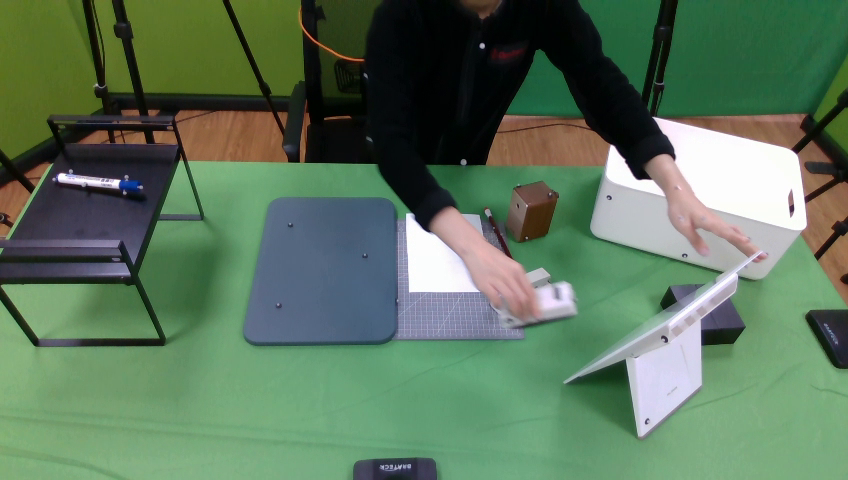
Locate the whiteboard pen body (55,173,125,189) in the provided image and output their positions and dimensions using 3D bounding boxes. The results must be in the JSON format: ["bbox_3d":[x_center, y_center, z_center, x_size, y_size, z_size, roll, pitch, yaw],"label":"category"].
[{"bbox_3d":[-0.539,-0.095,0.998,0.141,0.017,0.017,6,46,6],"label":"whiteboard pen body"}]

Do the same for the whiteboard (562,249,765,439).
[{"bbox_3d":[0.386,0.176,0.905,0.217,0.306,0.143,-26,72,-26],"label":"whiteboard"}]

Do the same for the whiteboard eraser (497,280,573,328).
[{"bbox_3d":[0.169,0.100,0.926,0.112,0.042,0.055,-15,36,15],"label":"whiteboard eraser"}]

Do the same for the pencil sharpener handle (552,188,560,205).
[{"bbox_3d":[0.261,-0.084,1.221,0.031,0.068,0.036,-16,66,-19],"label":"pencil sharpener handle"}]

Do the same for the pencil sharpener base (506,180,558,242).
[{"bbox_3d":[0.216,-0.059,1.211,0.077,0.107,0.061,-16,49,-19],"label":"pencil sharpener base"}]

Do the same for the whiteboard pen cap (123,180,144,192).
[{"bbox_3d":[-0.479,-0.089,0.993,0.033,0.018,0.018,7,46,14],"label":"whiteboard pen cap"}]

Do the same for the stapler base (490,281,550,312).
[{"bbox_3d":[0.181,0.094,1.118,0.130,0.024,0.041,-24,57,-29],"label":"stapler base"}]

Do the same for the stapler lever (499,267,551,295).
[{"bbox_3d":[0.185,0.076,1.101,0.118,0.040,0.026,-25,57,-29],"label":"stapler lever"}]

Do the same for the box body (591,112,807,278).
[{"bbox_3d":[0.540,-0.092,1.229,0.363,0.161,0.253,16,47,11],"label":"box body"}]

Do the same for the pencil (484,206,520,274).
[{"bbox_3d":[0.157,-0.002,1.217,0.012,0.012,0.192,-10,48,-13],"label":"pencil"}]

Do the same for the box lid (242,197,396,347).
[{"bbox_3d":[-0.186,0.046,1.147,0.263,0.015,0.369,0,46,-3],"label":"box lid"}]
